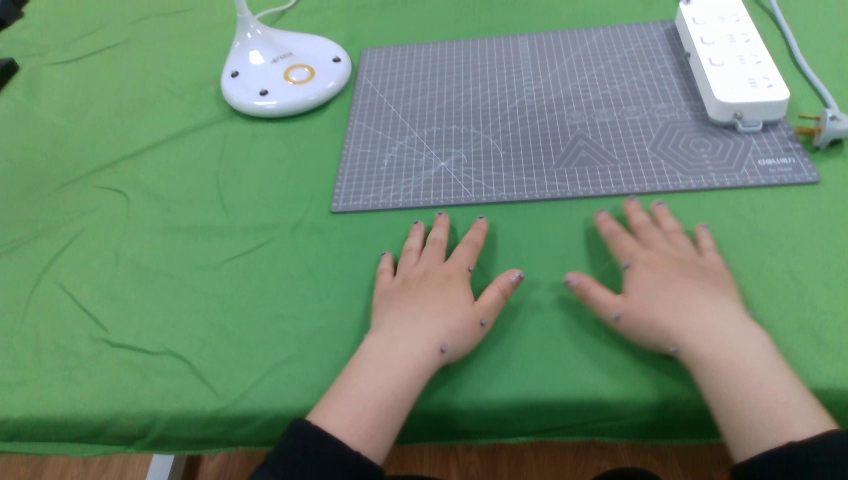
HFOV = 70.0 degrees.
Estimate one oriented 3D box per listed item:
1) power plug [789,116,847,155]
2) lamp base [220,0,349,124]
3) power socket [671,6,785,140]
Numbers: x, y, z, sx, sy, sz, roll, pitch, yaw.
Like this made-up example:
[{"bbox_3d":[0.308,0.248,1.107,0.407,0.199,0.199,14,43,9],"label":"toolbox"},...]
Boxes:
[{"bbox_3d":[0.374,-0.101,0.581,0.052,0.035,0.072,11,15,14],"label":"power plug"},{"bbox_3d":[-0.190,-0.252,0.698,0.177,0.182,0.160,28,57,34],"label":"lamp base"},{"bbox_3d":[0.322,-0.190,0.656,0.072,0.033,0.224,0,47,8],"label":"power socket"}]
